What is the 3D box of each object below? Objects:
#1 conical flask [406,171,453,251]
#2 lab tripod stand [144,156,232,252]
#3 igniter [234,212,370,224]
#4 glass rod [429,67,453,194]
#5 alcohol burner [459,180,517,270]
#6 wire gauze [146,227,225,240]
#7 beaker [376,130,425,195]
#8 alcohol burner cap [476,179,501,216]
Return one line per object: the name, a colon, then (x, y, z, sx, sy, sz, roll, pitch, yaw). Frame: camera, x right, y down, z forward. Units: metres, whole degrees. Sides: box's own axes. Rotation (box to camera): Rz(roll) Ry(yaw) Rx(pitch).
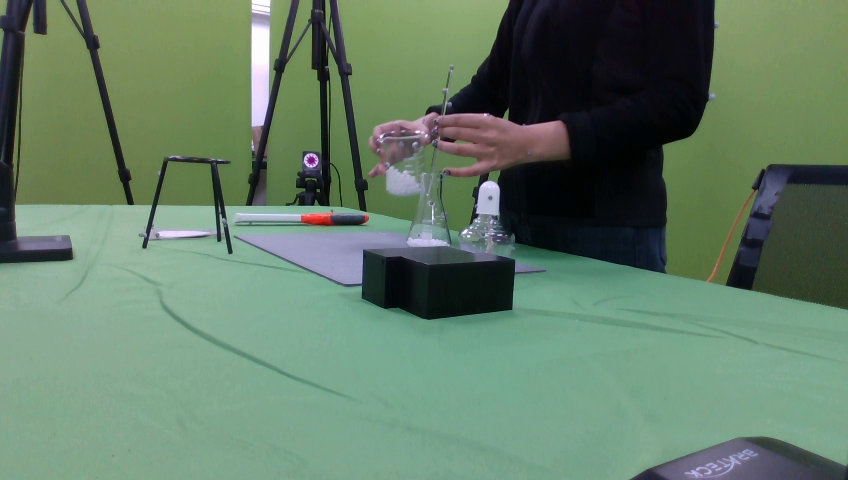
conical flask: (0.011, -0.046, 0.948, 0.075, 0.122, 0.075, 2, 7, 0)
lab tripod stand: (-0.325, -0.054, 0.881, 0.148, 0.131, 0.148, 4, 7, 0)
igniter: (-0.247, -0.046, 1.253, 0.278, 0.025, 0.057, -1, -2, -27)
glass rod: (0.024, -0.158, 0.905, 0.008, 0.199, 0.008, 7, 28, -4)
alcohol burner: (0.086, -0.021, 0.806, 0.078, 0.119, 0.078, 3, 9, 0)
wire gauze: (-0.400, -0.012, 1.019, 0.122, 0.011, 0.124, -1, 6, -26)
beaker: (-0.037, -0.130, 1.018, 0.084, 0.100, 0.073, -12, 20, -24)
alcohol burner cap: (0.086, -0.057, 0.801, 0.034, 0.048, 0.034, 4, 3, 0)
